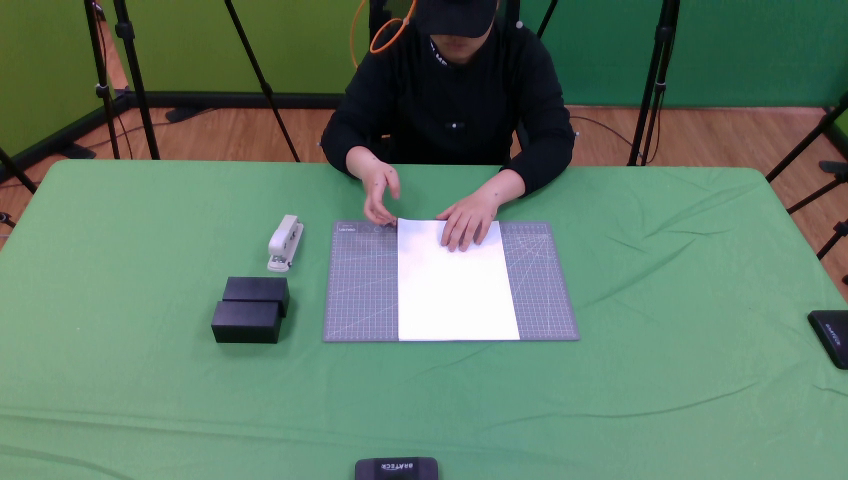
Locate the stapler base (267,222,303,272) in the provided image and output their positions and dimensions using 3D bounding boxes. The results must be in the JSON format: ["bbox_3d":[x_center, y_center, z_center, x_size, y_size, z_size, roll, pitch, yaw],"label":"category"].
[{"bbox_3d":[-0.269,0.006,1.170,0.041,0.024,0.130,8,44,0],"label":"stapler base"}]

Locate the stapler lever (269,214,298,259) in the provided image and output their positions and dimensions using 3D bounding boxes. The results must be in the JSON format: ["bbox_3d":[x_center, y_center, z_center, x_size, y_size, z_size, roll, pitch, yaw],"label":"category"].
[{"bbox_3d":[-0.268,-0.013,1.154,0.027,0.040,0.117,8,44,0],"label":"stapler lever"}]
